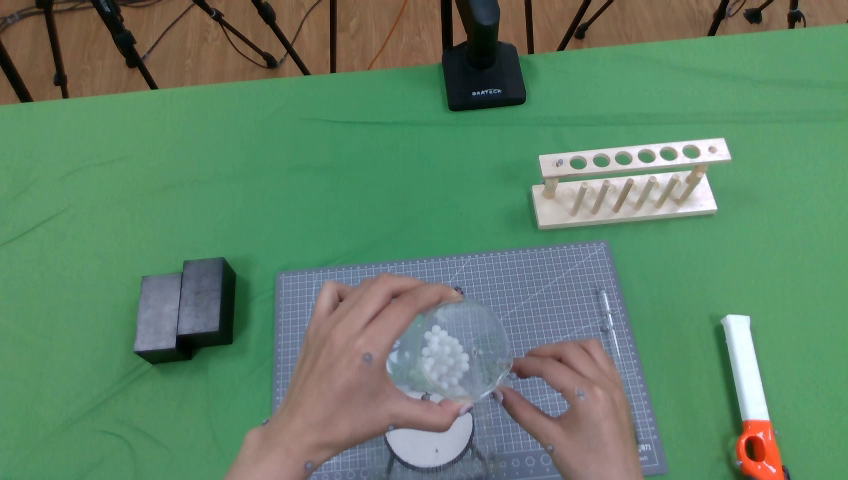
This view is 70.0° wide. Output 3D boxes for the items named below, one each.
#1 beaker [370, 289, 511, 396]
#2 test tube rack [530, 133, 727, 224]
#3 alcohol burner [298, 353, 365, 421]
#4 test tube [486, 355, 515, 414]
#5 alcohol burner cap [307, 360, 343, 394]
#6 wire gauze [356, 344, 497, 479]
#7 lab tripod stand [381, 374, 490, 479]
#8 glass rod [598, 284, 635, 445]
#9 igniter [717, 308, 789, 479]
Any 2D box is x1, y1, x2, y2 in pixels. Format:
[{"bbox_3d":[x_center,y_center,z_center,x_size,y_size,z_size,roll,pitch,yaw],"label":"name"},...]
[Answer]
[{"bbox_3d":[0.008,0.082,0.469,0.084,0.100,0.073,19,71,-22],"label":"beaker"},{"bbox_3d":[0.271,-0.081,0.812,0.242,0.086,0.066,-5,63,-1],"label":"test tube rack"},{"bbox_3d":[-0.107,0.161,0.684,0.078,0.120,0.077,-1,61,2],"label":"alcohol burner"},{"bbox_3d":[0.069,0.131,0.536,0.017,0.151,0.017,-5,61,9],"label":"test tube"},{"bbox_3d":[-0.109,0.146,0.651,0.034,0.048,0.033,-2,68,6],"label":"alcohol burner cap"},{"bbox_3d":[0.000,0.167,0.591,0.125,0.011,0.120,-8,62,-3],"label":"wire gauze"},{"bbox_3d":[0.003,0.200,0.650,0.148,0.132,0.147,-2,62,3],"label":"lab tripod stand"},{"bbox_3d":[0.234,0.147,0.739,0.008,0.008,0.198,-4,66,-1],"label":"glass rod"},{"bbox_3d":[0.378,0.211,0.696,0.057,0.025,0.274,6,64,-7],"label":"igniter"}]
